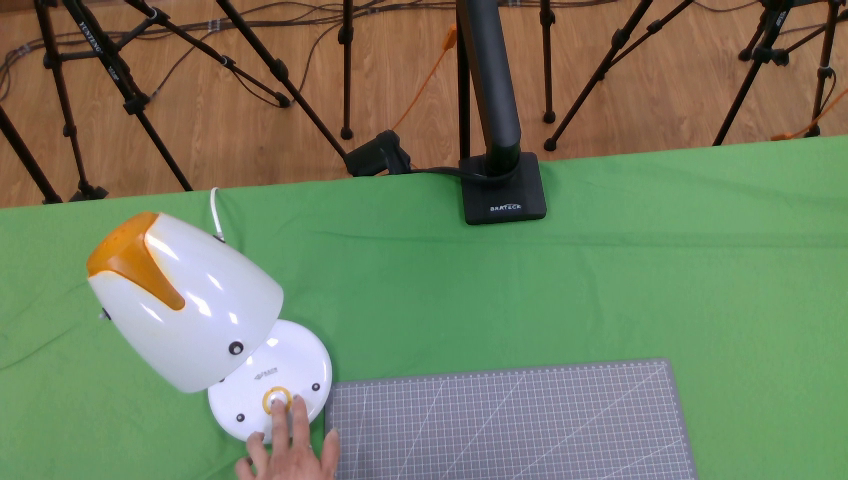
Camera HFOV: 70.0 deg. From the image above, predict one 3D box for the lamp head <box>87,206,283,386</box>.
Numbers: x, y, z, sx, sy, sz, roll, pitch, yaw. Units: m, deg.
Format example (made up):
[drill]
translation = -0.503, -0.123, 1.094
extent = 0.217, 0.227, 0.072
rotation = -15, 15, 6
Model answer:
[lamp head]
translation = -0.188, 0.032, 0.463
extent = 0.112, 0.124, 0.111
rotation = -30, 27, 18

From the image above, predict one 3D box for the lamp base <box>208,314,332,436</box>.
[lamp base]
translation = -0.213, 0.131, 0.728
extent = 0.160, 0.182, 0.177
rotation = -32, 64, -12
